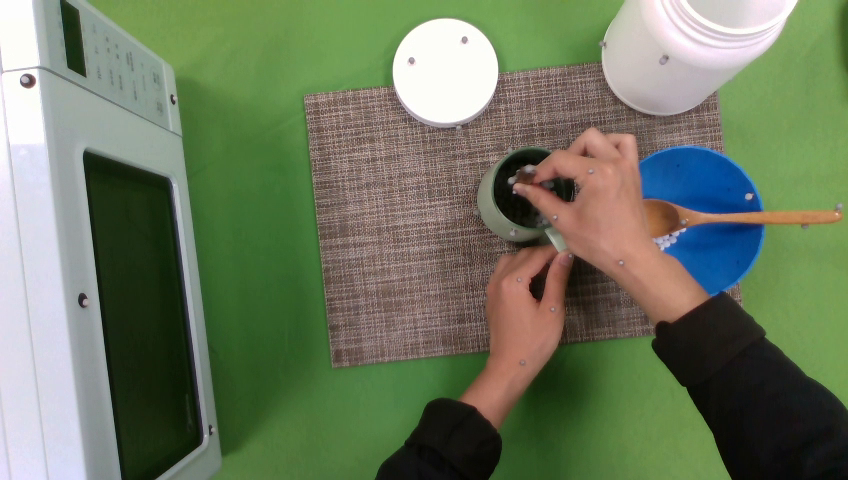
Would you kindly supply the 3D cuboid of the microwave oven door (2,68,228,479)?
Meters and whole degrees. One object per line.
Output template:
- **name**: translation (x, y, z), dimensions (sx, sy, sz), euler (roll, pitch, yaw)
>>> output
- **microwave oven door**: translation (-0.253, 0.059, 0.531), dimensions (0.039, 0.244, 0.355), euler (-9, 89, 1)

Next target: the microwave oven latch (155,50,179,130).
- **microwave oven latch**: translation (-0.279, -0.155, 0.634), dimensions (0.030, 0.029, 0.079), euler (-9, 90, 0)

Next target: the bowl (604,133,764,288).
- **bowl**: translation (0.252, -0.027, 0.621), dimensions (0.151, 0.077, 0.151), euler (0, 89, 1)

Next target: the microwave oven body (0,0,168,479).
- **microwave oven body**: translation (-0.404, 0.038, 0.537), dimensions (0.326, 0.260, 0.441), euler (-8, 90, 0)

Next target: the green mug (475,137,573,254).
- **green mug**: translation (0.109, -0.041, 0.610), dimensions (0.092, 0.105, 0.125), euler (-34, 89, 0)

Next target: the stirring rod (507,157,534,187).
- **stirring rod**: translation (0.088, -0.061, 0.566), dimensions (0.014, 0.176, 0.006), euler (15, 91, 5)

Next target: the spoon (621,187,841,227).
- **spoon**: translation (0.295, -0.033, 0.592), dimensions (0.193, 0.022, 0.041), euler (1, 93, 24)

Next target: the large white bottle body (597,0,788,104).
- **large white bottle body**: translation (0.248, -0.217, 0.569), dimensions (0.130, 0.185, 0.130), euler (0, 85, 1)

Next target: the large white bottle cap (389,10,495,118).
- **large white bottle cap**: translation (0.020, -0.190, 0.654), dimensions (0.115, 0.018, 0.114), euler (0, 88, 1)
